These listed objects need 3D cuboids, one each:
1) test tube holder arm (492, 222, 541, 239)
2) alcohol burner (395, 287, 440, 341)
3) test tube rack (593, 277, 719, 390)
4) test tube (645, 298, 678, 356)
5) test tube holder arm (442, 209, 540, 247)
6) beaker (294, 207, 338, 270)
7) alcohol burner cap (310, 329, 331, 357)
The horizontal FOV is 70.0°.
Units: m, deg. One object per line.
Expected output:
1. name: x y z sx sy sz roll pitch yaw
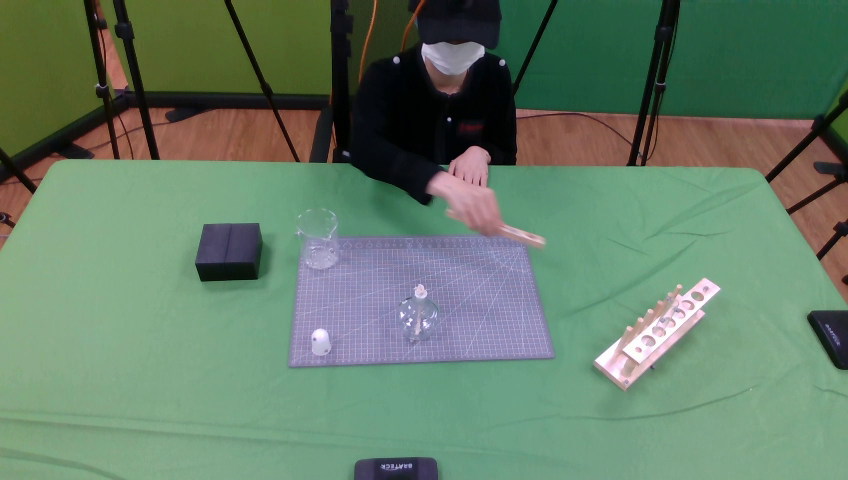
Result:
1. test tube holder arm: 0.161 -0.012 1.065 0.088 0.015 0.010 17 37 9
2. alcohol burner: -0.010 0.116 1.018 0.078 0.119 0.077 3 47 -3
3. test tube rack: 0.401 0.148 1.043 0.242 0.085 0.066 -30 55 -29
4. test tube: 0.378 0.143 0.976 0.017 0.151 0.017 1 48 -1
5. test tube holder arm: 0.117 -0.022 1.067 0.178 0.015 0.013 17 37 8
6. beaker: -0.196 0.003 1.123 0.074 0.101 0.083 -23 53 -24
7. alcohol burner cap: -0.173 0.168 1.005 0.034 0.048 0.033 2 46 -2
